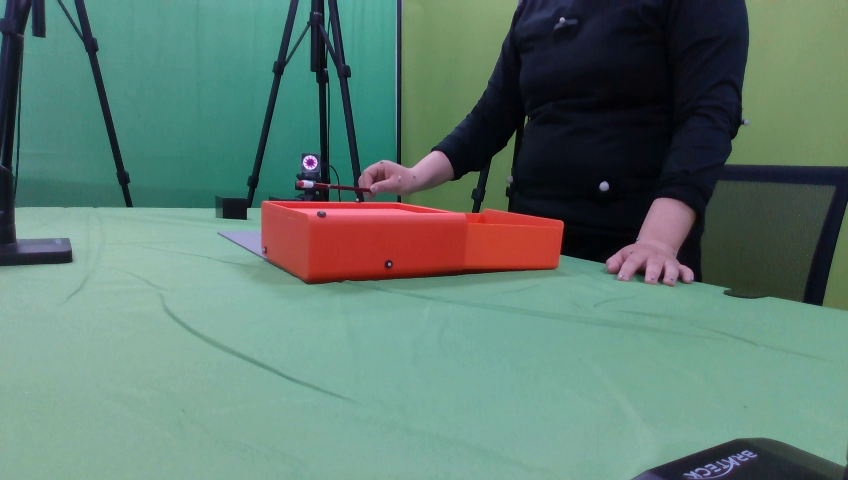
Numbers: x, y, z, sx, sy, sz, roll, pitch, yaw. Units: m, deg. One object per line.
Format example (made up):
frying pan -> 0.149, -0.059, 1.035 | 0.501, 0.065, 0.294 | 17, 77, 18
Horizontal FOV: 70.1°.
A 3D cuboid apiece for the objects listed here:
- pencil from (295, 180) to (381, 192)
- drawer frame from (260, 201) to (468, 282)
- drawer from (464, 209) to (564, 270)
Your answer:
pencil -> -0.148, -0.095, 1.086 | 0.012, 0.012, 0.195 | 9, 6, 43
drawer frame -> -0.084, -0.006, 0.794 | 0.215, 0.082, 0.200 | -2, 9, -30
drawer -> 0.059, -0.006, 0.879 | 0.213, 0.073, 0.193 | 1, 9, -31
